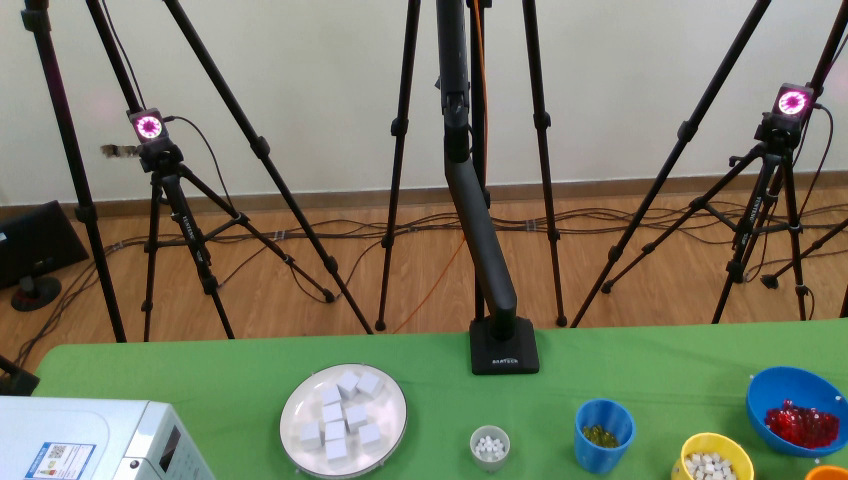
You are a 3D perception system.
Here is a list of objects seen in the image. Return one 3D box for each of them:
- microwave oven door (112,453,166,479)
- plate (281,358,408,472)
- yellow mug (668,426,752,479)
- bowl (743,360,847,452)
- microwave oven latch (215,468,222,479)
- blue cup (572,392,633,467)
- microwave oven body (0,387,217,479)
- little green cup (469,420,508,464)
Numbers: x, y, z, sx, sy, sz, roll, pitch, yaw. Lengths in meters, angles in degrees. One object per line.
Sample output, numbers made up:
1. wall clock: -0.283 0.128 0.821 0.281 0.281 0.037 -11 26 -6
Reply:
1. microwave oven door: -0.345 0.453 0.661 0.039 0.246 0.352 0 43 5
2. plate: -0.128 0.289 0.999 0.207 0.039 0.205 -2 43 2
3. yellow mug: 0.407 0.342 0.883 0.131 0.064 0.099 -33 50 -26
4. bowl: 0.567 0.270 0.940 0.151 0.077 0.150 -2 44 3
5. microwave oven latch: -0.322 0.378 0.889 0.030 0.030 0.078 2 44 6
6. blue cup: 0.263 0.295 0.919 0.092 0.101 0.091 -2 45 2
7. microwave oven body: -0.487 0.427 0.706 0.326 0.262 0.437 1 44 4
8. little green cup: 0.101 0.319 0.950 0.061 0.039 0.061 -2 43 2
